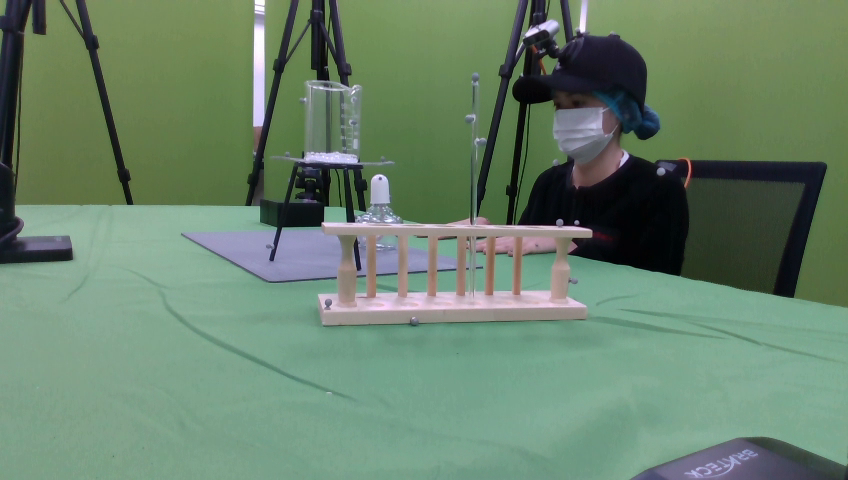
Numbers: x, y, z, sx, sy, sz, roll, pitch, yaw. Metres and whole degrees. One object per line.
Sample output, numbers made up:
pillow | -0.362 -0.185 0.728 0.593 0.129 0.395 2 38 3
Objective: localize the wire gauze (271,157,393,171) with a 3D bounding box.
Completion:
wire gauze | -0.122 -0.100 0.786 0.122 0.011 0.124 -5 14 -38

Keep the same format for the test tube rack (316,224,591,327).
test tube rack | 0.026 0.028 0.555 0.243 0.085 0.066 1 7 -14

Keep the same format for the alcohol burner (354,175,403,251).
alcohol burner | -0.072 -0.042 0.944 0.078 0.119 0.078 1 9 0

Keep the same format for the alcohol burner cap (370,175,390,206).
alcohol burner cap | -0.069 -0.077 0.939 0.034 0.048 0.034 -1 7 0

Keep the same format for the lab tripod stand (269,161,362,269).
lab tripod stand | -0.125 -0.036 0.794 0.148 0.131 0.148 5 7 0

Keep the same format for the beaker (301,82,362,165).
beaker | -0.117 -0.147 0.776 0.074 0.100 0.083 -3 10 -38

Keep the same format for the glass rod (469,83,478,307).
glass rod | 0.043 -0.033 0.523 0.008 0.199 0.008 -1 14 1
